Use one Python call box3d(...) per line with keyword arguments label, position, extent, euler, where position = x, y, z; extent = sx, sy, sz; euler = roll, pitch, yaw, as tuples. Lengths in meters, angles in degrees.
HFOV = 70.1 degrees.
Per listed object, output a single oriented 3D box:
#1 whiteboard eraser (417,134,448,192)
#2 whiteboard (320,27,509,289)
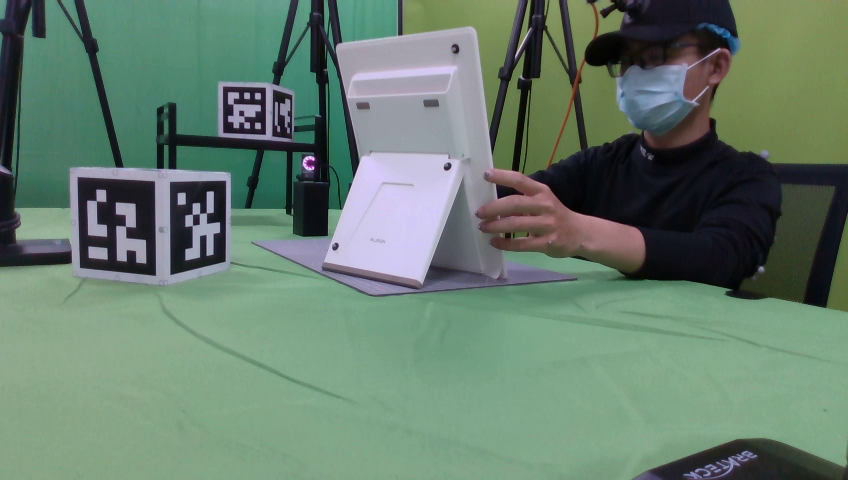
box3d(label="whiteboard eraser", position=(0.013, -0.105, 0.828), extent=(0.041, 0.019, 0.101), euler=(25, -29, 18))
box3d(label="whiteboard", position=(-0.045, -0.076, 0.721), extent=(0.216, 0.305, 0.144), euler=(9, 29, 38))
